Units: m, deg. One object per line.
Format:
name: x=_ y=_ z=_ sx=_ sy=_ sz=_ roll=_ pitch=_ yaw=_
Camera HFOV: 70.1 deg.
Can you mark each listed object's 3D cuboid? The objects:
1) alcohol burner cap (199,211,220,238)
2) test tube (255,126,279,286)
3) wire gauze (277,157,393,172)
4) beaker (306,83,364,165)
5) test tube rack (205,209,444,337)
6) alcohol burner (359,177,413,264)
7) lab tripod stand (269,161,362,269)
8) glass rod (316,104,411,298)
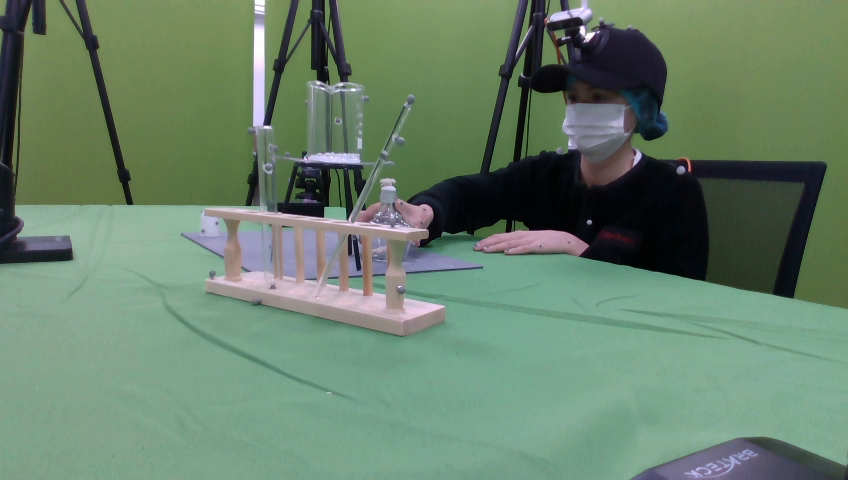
alcohol burner cap: x=-0.356 y=-0.027 z=1.002 sx=0.034 sy=0.048 sz=0.034 roll=2 pitch=7 yaw=0
test tube: x=-0.147 y=-0.031 z=0.566 sx=0.017 sy=0.150 sz=0.017 roll=-1 pitch=8 yaw=0
wire gauze: x=-0.122 y=-0.100 z=0.786 sx=0.122 sy=0.011 sz=0.124 roll=-5 pitch=14 yaw=-38
beaker: x=-0.115 y=-0.147 z=0.775 sx=0.074 sy=0.100 sz=0.084 roll=2 pitch=8 yaw=-2
test tube rack: x=-0.100 y=0.021 z=0.565 sx=0.241 sy=0.085 sz=0.067 roll=7 pitch=9 yaw=32
alcohol burner: x=-0.052 y=-0.027 z=0.836 sx=0.078 sy=0.119 sz=0.078 roll=2 pitch=9 yaw=0
lab tripod stand: x=-0.125 y=-0.036 z=0.794 sx=0.148 sy=0.131 sz=0.148 roll=5 pitch=7 yaw=0
glass rod: x=-0.055 y=-0.026 z=0.517 sx=0.008 sy=0.199 sz=0.008 roll=23 pitch=24 yaw=-11
